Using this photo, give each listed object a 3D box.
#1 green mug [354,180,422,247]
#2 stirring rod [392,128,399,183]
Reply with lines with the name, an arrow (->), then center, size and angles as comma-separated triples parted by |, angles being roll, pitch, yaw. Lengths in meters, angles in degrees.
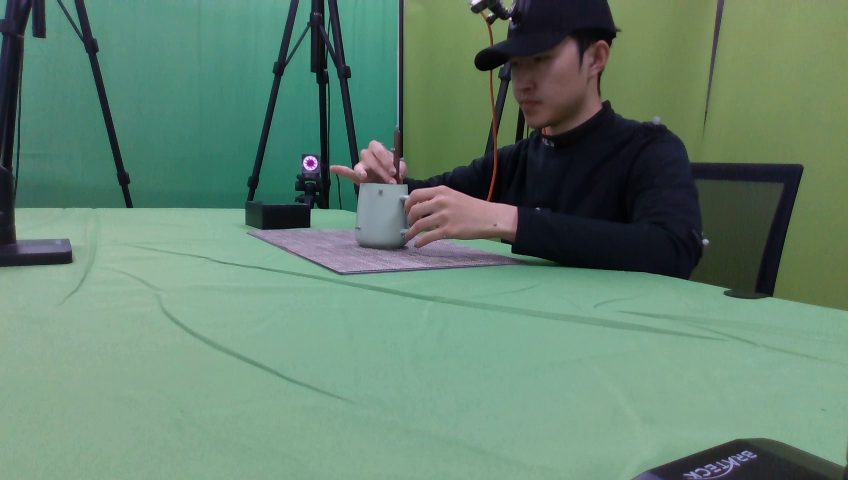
green mug -> -0.055, -0.042, 0.988 | 0.125, 0.105, 0.093 | 7, 9, 35
stirring rod -> -0.047, -0.094, 0.986 | 0.006, 0.176, 0.014 | -7, 13, -40
